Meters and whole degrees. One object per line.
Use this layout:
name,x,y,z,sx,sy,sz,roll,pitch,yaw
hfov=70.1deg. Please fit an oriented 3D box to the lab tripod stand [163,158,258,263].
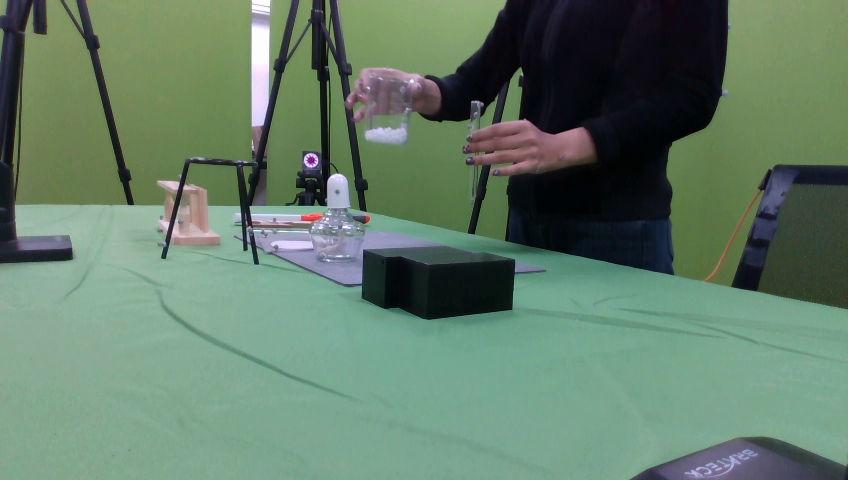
lab tripod stand,-0.265,-0.041,0.802,0.148,0.131,0.148,4,7,0

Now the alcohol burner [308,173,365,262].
alcohol burner,-0.117,-0.030,0.813,0.078,0.119,0.078,4,9,0

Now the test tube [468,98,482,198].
test tube,0.077,-0.139,0.922,0.017,0.150,0.017,2,9,0

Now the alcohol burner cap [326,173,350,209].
alcohol burner cap,-0.116,-0.066,0.808,0.034,0.048,0.034,-3,10,1

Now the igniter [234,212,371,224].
igniter,-0.245,-0.045,1.247,0.278,0.025,0.057,-1,-2,-25

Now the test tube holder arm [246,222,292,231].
test tube holder arm,-0.291,-0.026,1.130,0.088,0.015,0.010,-2,45,-30

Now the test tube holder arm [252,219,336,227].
test tube holder arm,-0.254,-0.031,1.157,0.179,0.015,0.013,-3,46,-31

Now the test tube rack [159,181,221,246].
test tube rack,-0.395,-0.050,1.010,0.067,0.085,0.241,-2,8,-28

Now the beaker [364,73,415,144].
beaker,-0.053,-0.200,0.924,0.083,0.100,0.074,15,14,39

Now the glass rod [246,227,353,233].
glass rod,-0.224,-0.017,1.109,0.201,0.008,0.008,1,7,-27

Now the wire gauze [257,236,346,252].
wire gauze,-0.189,0.005,0.931,0.122,0.011,0.124,1,7,-21
